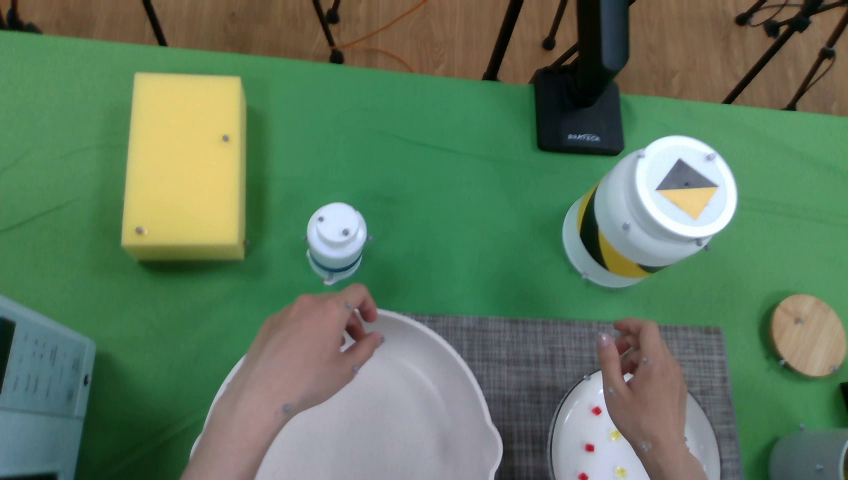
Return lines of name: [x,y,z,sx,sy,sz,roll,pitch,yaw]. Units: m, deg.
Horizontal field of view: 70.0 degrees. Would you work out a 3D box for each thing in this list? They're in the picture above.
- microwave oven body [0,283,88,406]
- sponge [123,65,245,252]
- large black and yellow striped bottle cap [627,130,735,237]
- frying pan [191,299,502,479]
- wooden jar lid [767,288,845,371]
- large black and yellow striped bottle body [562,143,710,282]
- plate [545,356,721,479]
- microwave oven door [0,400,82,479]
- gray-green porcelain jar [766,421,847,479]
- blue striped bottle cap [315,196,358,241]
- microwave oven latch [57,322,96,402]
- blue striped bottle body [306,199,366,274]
microwave oven body: [-0.486,0.252,0.443,0.327,0.261,0.439,4,73,-9]
sponge: [-0.270,-0.092,0.696,0.118,0.061,0.205,-1,74,-11]
large black and yellow striped bottle cap: [0.269,-0.060,0.632,0.115,0.019,0.114,3,74,-9]
frying pan: [-0.074,0.304,0.588,0.307,0.103,0.484,2,65,-7]
wooden jar lid: [0.499,0.118,0.797,0.108,0.021,0.108,3,74,-9]
large black and yellow striped bottle body: [0.254,-0.034,0.711,0.131,0.184,0.130,3,72,-9]
plate: [0.236,0.240,0.698,0.209,0.038,0.208,3,73,-9]
microwave oven door: [-0.343,0.301,0.449,0.039,0.244,0.353,4,72,-9]
gray-green porcelain jar: [0.470,0.262,0.691,0.106,0.127,0.105,3,72,-9]
blue striped bottle cap: [-0.090,-0.023,0.623,0.045,0.020,0.044,3,74,-9]
microwave oven latch: [-0.353,0.122,0.609,0.030,0.029,0.078,7,73,-9]
blue striped bottle body: [-0.098,-0.007,0.671,0.063,0.121,0.062,3,72,-9]
